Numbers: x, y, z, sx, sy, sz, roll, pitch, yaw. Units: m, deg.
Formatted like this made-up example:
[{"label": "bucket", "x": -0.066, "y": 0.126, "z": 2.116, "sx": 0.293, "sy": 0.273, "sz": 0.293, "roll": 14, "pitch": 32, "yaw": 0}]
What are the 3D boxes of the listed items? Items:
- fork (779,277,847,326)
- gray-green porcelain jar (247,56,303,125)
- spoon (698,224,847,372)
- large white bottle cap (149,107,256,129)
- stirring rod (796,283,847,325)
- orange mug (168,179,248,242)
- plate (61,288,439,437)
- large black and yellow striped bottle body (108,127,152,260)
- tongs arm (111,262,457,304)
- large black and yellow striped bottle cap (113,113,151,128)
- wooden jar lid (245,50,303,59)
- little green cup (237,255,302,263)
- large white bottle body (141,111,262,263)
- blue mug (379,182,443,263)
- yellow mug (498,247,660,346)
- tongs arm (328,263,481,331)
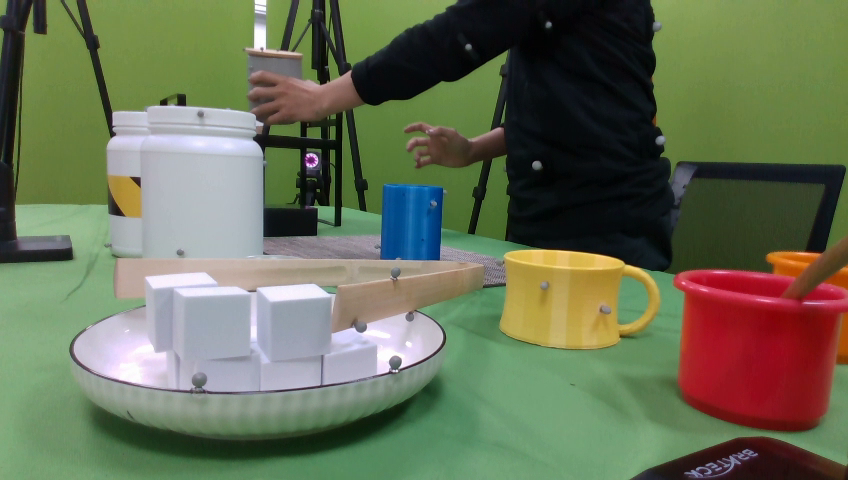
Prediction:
[{"label": "fork", "x": 0.335, "y": 0.018, "z": 0.443, "sx": 0.028, "sy": 0.018, "sz": 0.207, "roll": -1, "pitch": -36, "yaw": -20}, {"label": "gray-green porcelain jar", "x": -0.293, "y": -0.296, "z": 1.194, "sx": 0.106, "sy": 0.126, "sz": 0.105, "roll": 3, "pitch": 20, "yaw": -1}, {"label": "spoon", "x": 0.195, "y": 0.032, "z": 0.323, "sx": 0.041, "sy": 0.021, "sz": 0.194, "roll": 1, "pitch": -36, "yaw": 2}, {"label": "large white bottle cap", "x": -0.250, "y": -0.137, "z": 0.686, "sx": 0.115, "sy": 0.018, "sz": 0.115, "roll": 2, "pitch": 8, "yaw": 0}, {"label": "stirring rod", "x": 0.347, "y": 0.019, "z": 0.460, "sx": 0.014, "sy": 0.176, "sz": 0.006, "roll": -17, "pitch": 59, "yaw": -26}, {"label": "orange mug", "x": -0.351, "y": -0.050, "z": 0.986, "sx": 0.126, "sy": 0.101, "sz": 0.083, "roll": -3, "pitch": 9, "yaw": -9}, {"label": "plate", "x": -0.095, "y": 0.069, "z": 0.362, "sx": 0.208, "sy": 0.039, "sz": 0.207, "roll": 3, "pitch": 7, "yaw": 0}, {"label": "large black and yellow striped bottle body", "x": -0.350, "y": -0.071, "z": 0.812, "sx": 0.131, "sy": 0.184, "sz": 0.130, "roll": 2, "pitch": 7, "yaw": 0}, {"label": "tongs arm", "x": -0.080, "y": 0.032, "z": 0.526, "sx": 0.028, "sy": 0.027, "sz": 0.389, "roll": -3, "pitch": -4, "yaw": 33}, {"label": "large black and yellow striped bottle cap", "x": -0.348, "y": -0.154, "z": 0.800, "sx": 0.115, "sy": 0.019, "sz": 0.115, "roll": 2, "pitch": 6, "yaw": 0}, {"label": "wooden jar lid", "x": -0.290, "y": -0.354, "z": 1.173, "sx": 0.108, "sy": 0.020, "sz": 0.108, "roll": 5, "pitch": 20, "yaw": -1}, {"label": "little green cup", "x": -0.150, "y": 0.038, "z": 0.590, "sx": 0.061, "sy": 0.038, "sz": 0.061, "roll": 3, "pitch": 6, "yaw": 0}, {"label": "large white bottle body", "x": -0.254, "y": -0.053, "z": 0.697, "sx": 0.131, "sy": 0.184, "sz": 0.130, "roll": 2, "pitch": 7, "yaw": 0}, {"label": "blue mug", "x": -0.020, "y": -0.026, "z": 0.833, "sx": 0.082, "sy": 0.106, "sz": 0.116, "roll": 1, "pitch": 7, "yaw": -7}, {"label": "yellow mug", "x": 0.130, "y": 0.045, "z": 0.508, "sx": 0.131, "sy": 0.064, "sz": 0.100, "roll": 4, "pitch": 7, "yaw": 6}, {"label": "tongs arm", "x": -0.003, "y": 0.036, "z": 0.493, "sx": 0.050, "sy": 0.026, "sz": 0.386, "roll": 1, "pitch": -1, "yaw": 19}]
